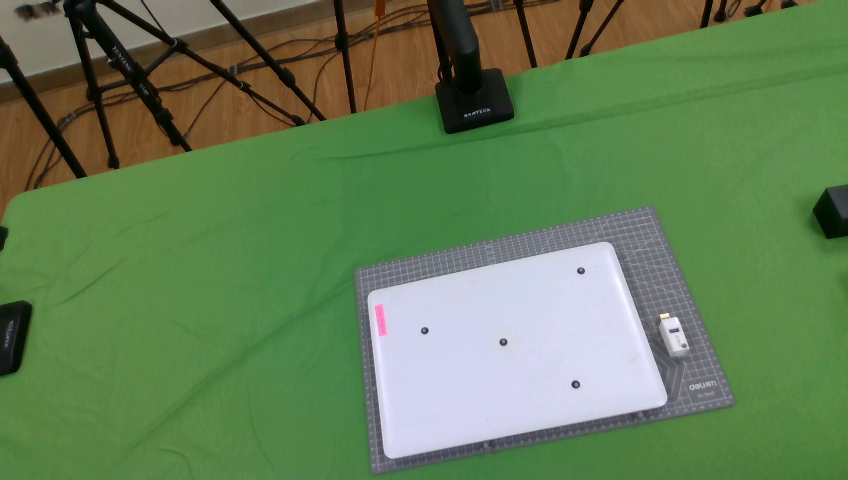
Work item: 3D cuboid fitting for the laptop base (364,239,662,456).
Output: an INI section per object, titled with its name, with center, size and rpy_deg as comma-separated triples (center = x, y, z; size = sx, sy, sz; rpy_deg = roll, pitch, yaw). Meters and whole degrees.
[laptop base]
center = 0.103, 0.135, 0.803
size = 0.354, 0.023, 0.233
rpy_deg = -13, 61, 3

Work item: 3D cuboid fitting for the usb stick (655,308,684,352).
[usb stick]
center = 0.309, 0.111, 0.770
size = 0.021, 0.027, 0.058
rpy_deg = -14, 55, 7

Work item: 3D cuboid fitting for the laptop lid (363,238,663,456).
[laptop lid]
center = 0.101, 0.131, 0.792
size = 0.356, 0.013, 0.239
rpy_deg = -11, 60, 4
